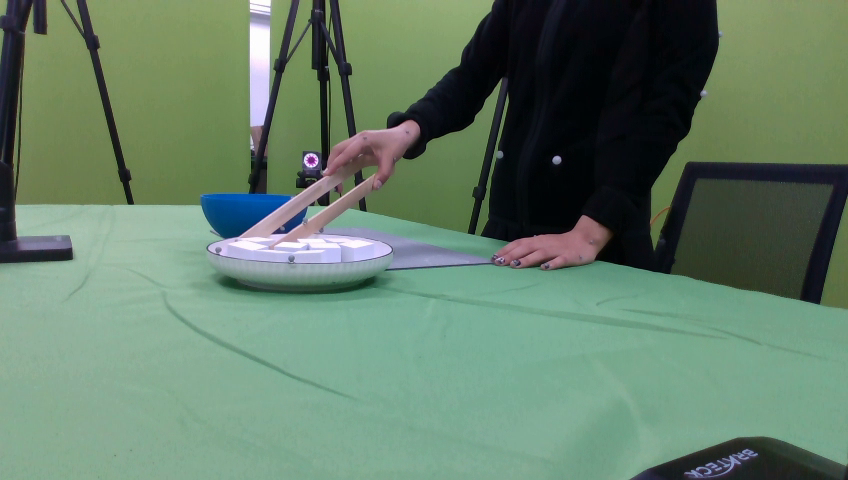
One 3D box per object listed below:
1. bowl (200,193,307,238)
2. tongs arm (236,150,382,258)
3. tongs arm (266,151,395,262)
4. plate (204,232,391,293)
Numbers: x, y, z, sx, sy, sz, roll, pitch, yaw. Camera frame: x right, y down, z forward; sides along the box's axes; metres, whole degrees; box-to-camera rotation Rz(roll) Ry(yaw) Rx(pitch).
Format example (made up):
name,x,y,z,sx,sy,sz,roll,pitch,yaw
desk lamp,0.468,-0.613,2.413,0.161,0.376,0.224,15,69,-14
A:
name,x,y,z,sx,sy,sz,roll,pitch,yaw
bowl,-0.245,-0.025,0.879,0.151,0.077,0.151,2,8,0
tongs arm,-0.150,-0.066,0.873,0.028,0.028,0.388,7,26,19
tongs arm,-0.124,-0.061,0.866,0.050,0.026,0.386,12,28,20
plate,-0.143,0.025,0.697,0.208,0.039,0.207,3,9,0
